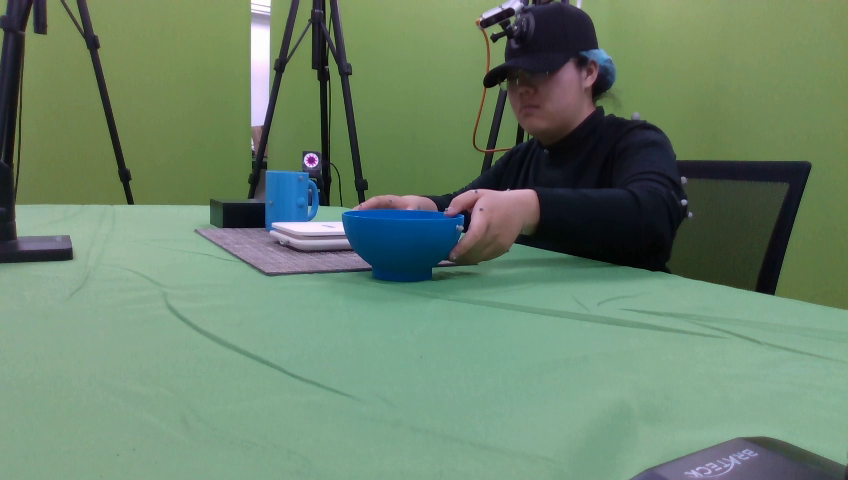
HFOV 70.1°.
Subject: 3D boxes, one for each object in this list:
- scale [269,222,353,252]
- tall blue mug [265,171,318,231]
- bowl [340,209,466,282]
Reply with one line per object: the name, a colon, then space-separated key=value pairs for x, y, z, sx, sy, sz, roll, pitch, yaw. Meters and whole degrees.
scale: x=-0.130 y=-0.008 z=0.959 sx=0.202 sy=0.031 sz=0.148 roll=-1 pitch=9 yaw=-32
tall blue mug: x=-0.248 y=-0.073 z=1.121 sx=0.078 sy=0.108 sz=0.107 roll=3 pitch=8 yaw=8
bowl: x=-0.025 y=0.006 z=0.731 sx=0.151 sy=0.077 sz=0.151 roll=2 pitch=7 yaw=0
